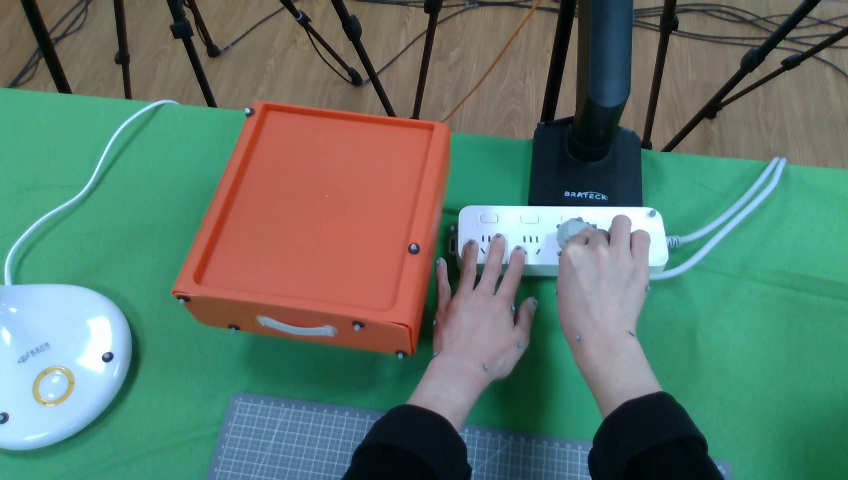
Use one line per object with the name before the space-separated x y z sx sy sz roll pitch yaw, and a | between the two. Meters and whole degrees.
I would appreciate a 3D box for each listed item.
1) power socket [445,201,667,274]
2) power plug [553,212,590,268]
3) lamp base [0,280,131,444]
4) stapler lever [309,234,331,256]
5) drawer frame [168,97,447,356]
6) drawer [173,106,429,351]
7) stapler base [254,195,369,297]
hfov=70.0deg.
power socket | 0.135 -0.003 0.623 0.227 0.033 0.071 1 62 2
power plug | 0.140 0.005 0.583 0.035 0.053 0.072 8 58 13
lamp base | -0.373 0.067 0.513 0.178 0.182 0.160 37 68 23
stapler lever | -0.119 -0.006 0.544 0.117 0.040 0.027 35 84 24
drawer frame | -0.093 -0.019 0.559 0.201 0.083 0.212 7 60 6
drawer | -0.092 -0.016 0.558 0.194 0.074 0.210 7 61 6
stapler base | -0.110 0.002 0.569 0.129 0.024 0.041 35 84 22
